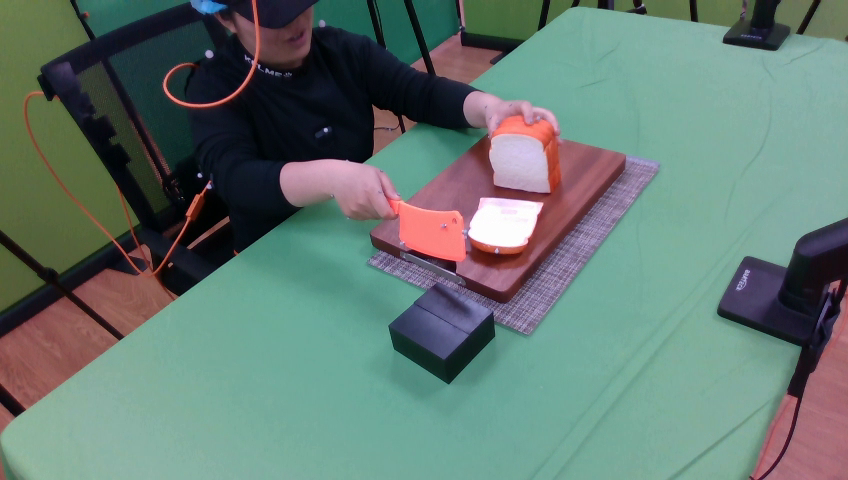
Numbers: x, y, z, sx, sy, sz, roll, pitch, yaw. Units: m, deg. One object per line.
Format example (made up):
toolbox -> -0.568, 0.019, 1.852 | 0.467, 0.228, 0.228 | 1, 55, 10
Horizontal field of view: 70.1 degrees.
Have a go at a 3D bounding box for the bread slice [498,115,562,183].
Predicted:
bread slice -> 0.175, -0.149, 1.004 | 0.106, 0.135, 0.018 | 12, 54, 21

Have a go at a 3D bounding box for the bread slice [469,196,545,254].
bread slice -> 0.125, -0.024, 0.943 | 0.104, 0.019, 0.131 | 8, 39, 18

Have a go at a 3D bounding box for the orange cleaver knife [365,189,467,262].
orange cleaver knife -> -0.016, -0.024, 0.872 | 0.012, 0.077, 0.209 | -13, 25, -43
